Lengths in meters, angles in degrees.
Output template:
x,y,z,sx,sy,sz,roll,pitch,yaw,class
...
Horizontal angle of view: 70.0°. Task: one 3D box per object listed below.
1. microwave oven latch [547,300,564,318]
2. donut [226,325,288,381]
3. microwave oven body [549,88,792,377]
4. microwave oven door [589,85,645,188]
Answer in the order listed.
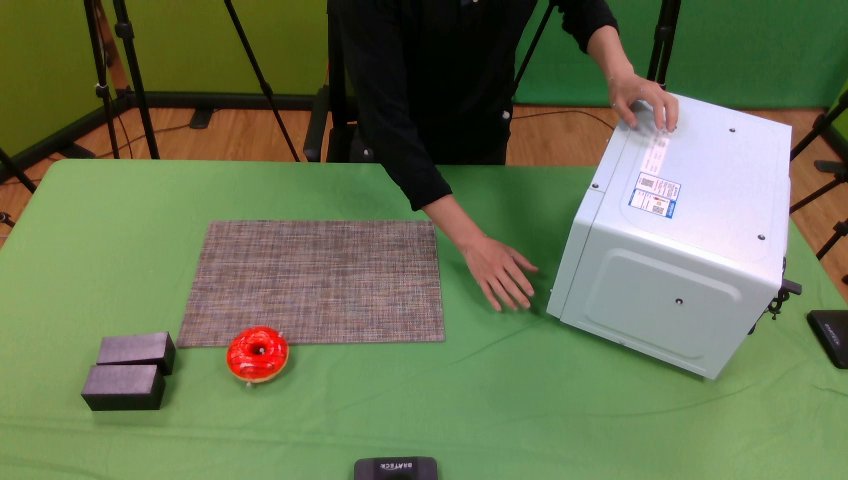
x,y,z,sx,sy,sz,roll,pitch,yaw,class
0.242,0.102,1.081,0.030,0.029,0.079,21,47,17,microwave oven latch
-0.270,0.182,0.984,0.099,0.048,0.098,5,49,-5,donut
0.456,-0.028,1.088,0.325,0.261,0.440,20,47,16,microwave oven body
0.342,-0.107,1.149,0.039,0.245,0.354,20,48,15,microwave oven door
